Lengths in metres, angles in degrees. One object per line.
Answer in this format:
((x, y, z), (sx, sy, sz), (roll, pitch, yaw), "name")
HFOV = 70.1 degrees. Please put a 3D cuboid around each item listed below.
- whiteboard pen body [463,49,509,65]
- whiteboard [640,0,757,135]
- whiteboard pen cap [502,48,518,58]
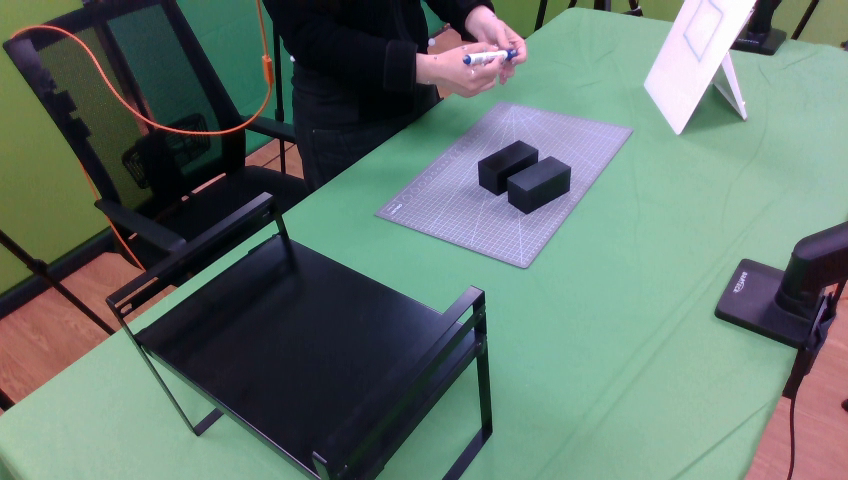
((0.114, -0.315, 1.037), (0.017, 0.017, 0.141), (26, 34, 33), "whiteboard pen body")
((0.576, -0.366, 1.147), (0.144, 0.305, 0.216), (10, 39, -10), "whiteboard")
((0.152, -0.334, 1.081), (0.018, 0.018, 0.033), (28, 32, 34), "whiteboard pen cap")
